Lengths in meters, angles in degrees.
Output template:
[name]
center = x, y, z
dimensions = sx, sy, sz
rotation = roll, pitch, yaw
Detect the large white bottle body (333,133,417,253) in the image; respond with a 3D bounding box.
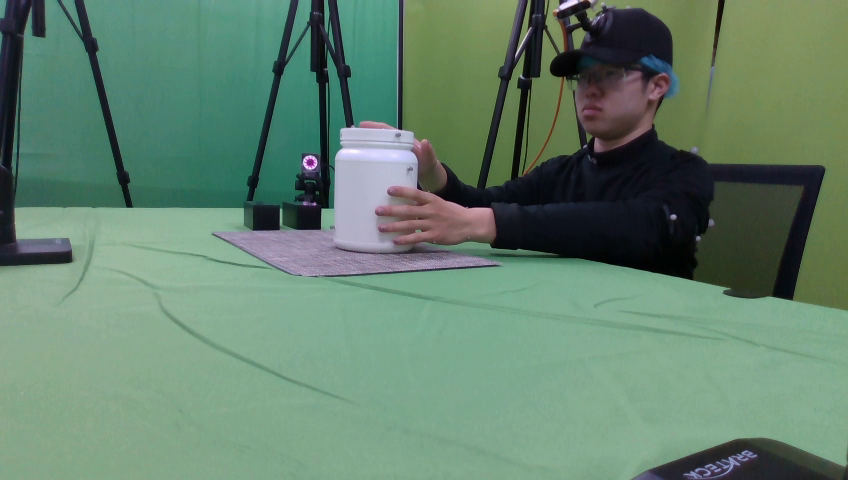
[large white bottle body]
center = -0.076, -0.079, 0.950
dimensions = 0.131, 0.184, 0.130
rotation = 2, 7, 0

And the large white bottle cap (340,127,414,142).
[large white bottle cap]
center = -0.072, -0.163, 0.940
dimensions = 0.115, 0.018, 0.115
rotation = 2, 7, 0
